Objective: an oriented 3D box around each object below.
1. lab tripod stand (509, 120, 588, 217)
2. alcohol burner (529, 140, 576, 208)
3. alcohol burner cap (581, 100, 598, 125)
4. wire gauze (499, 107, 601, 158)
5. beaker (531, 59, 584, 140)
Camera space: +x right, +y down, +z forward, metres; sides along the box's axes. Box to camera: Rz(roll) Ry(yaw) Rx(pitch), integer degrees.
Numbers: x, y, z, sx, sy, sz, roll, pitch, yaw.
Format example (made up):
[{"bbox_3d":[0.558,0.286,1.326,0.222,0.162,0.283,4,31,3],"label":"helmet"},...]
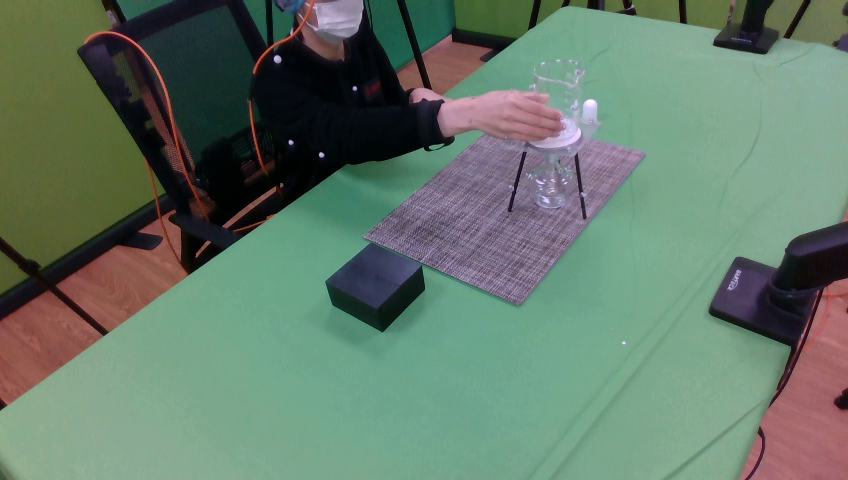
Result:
[{"bbox_3d":[0.208,-0.114,0.983,0.148,0.132,0.147,-5,42,5],"label":"lab tripod stand"},{"bbox_3d":[0.211,-0.112,0.995,0.078,0.119,0.077,-6,41,6],"label":"alcohol burner"},{"bbox_3d":[0.331,-0.258,1.210,0.034,0.048,0.033,-5,41,5],"label":"alcohol burner cap"},{"bbox_3d":[0.198,-0.168,0.943,0.120,0.011,0.125,18,47,27],"label":"wire gauze"},{"bbox_3d":[0.201,-0.207,0.907,0.074,0.101,0.083,-16,40,-11],"label":"beaker"}]
